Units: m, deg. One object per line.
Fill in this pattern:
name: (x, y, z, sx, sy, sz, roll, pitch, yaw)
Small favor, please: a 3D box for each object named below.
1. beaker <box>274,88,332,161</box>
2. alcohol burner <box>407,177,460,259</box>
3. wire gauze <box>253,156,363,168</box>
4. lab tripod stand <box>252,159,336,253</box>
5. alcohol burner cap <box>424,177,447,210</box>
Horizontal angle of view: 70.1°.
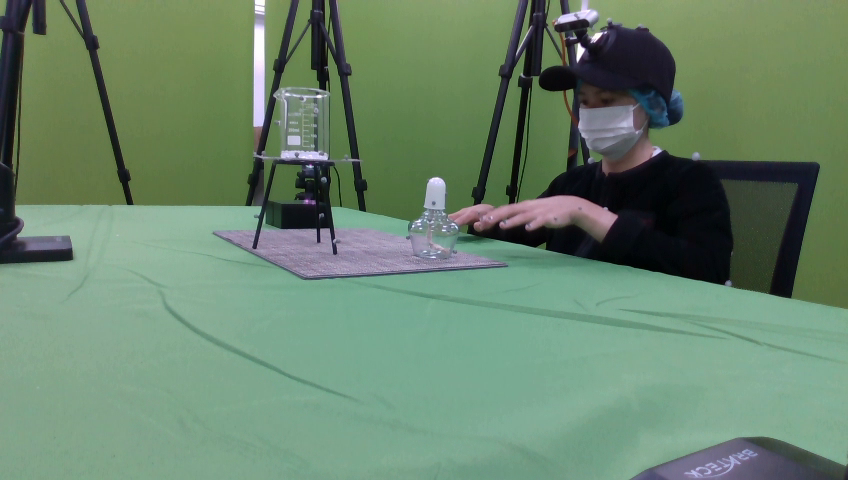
beaker: (-0.177, -0.165, 0.879, 0.084, 0.100, 0.074, 2, 5, 1)
alcohol burner: (0.015, -0.032, 0.882, 0.078, 0.119, 0.078, 3, 5, 0)
wire gauze: (-0.172, -0.117, 0.891, 0.122, 0.011, 0.124, 0, 3, -38)
lab tripod stand: (-0.180, -0.053, 0.900, 0.148, 0.131, 0.148, 1, 6, 0)
alcohol burner cap: (0.018, -0.067, 0.876, 0.034, 0.048, 0.034, 4, 13, 0)
